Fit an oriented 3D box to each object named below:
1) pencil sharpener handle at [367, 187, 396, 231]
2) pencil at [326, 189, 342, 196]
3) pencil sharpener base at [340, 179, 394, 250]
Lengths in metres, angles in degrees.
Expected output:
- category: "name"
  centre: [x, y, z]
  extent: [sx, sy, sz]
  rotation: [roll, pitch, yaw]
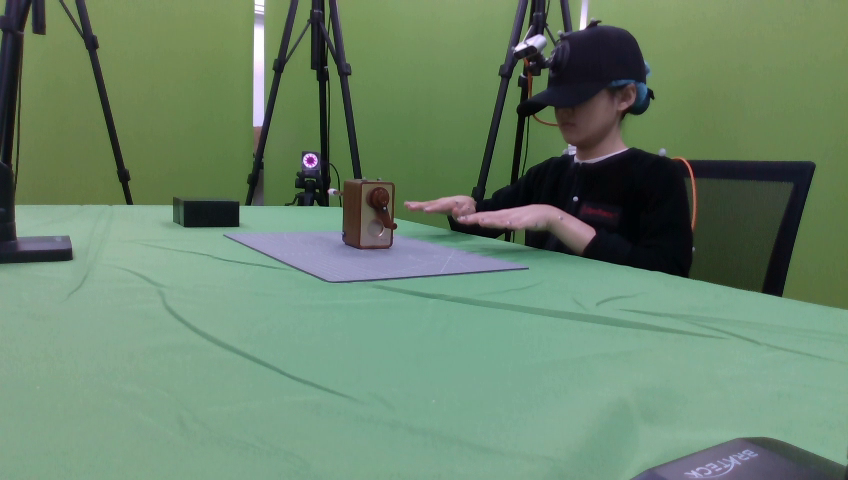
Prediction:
- category: "pencil sharpener handle"
  centre: [-0.060, -0.047, 0.916]
  extent: [0.036, 0.068, 0.030]
  rotation: [-22, 19, -25]
- category: "pencil"
  centre: [-0.129, -0.077, 1.027]
  extent: [0.012, 0.012, 0.193]
  rotation: [-1, 8, -29]
- category: "pencil sharpener base"
  centre: [-0.091, -0.041, 0.959]
  extent: [0.061, 0.107, 0.076]
  rotation: [-1, 9, -30]
